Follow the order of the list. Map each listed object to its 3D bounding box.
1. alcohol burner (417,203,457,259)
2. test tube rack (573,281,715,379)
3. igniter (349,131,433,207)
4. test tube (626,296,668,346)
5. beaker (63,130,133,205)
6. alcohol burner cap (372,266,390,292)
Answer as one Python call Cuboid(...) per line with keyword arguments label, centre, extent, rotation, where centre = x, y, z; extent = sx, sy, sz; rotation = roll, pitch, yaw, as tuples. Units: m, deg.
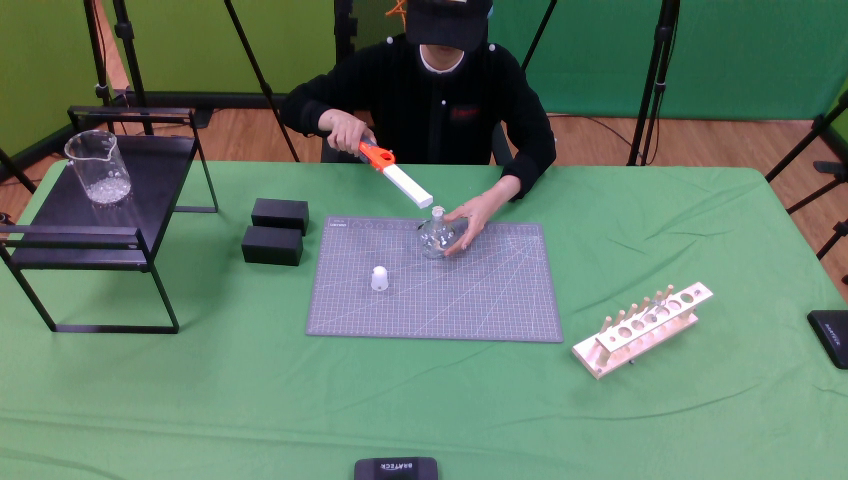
Cuboid(label="alcohol burner", centre=(0.025, -0.022, 1.150), extent=(0.078, 0.120, 0.077), rotation=(1, 45, 0))
Cuboid(label="test tube rack", centre=(0.378, 0.140, 1.038), extent=(0.242, 0.085, 0.066), rotation=(-22, 51, -23))
Cuboid(label="igniter", centre=(-0.072, -0.146, 1.189), extent=(0.057, 0.025, 0.274), rotation=(-26, 48, -24))
Cuboid(label="test tube", centre=(0.352, 0.133, 0.970), extent=(0.017, 0.151, 0.017), rotation=(3, 54, -4))
Cuboid(label="beaker", centre=(-0.511, -0.112, 0.964), extent=(0.083, 0.101, 0.074), rotation=(31, 52, 23))
Cuboid(label="alcohol burner cap", centre=(-0.080, 0.069, 1.104), extent=(0.034, 0.048, 0.033), rotation=(0, 46, 0))
